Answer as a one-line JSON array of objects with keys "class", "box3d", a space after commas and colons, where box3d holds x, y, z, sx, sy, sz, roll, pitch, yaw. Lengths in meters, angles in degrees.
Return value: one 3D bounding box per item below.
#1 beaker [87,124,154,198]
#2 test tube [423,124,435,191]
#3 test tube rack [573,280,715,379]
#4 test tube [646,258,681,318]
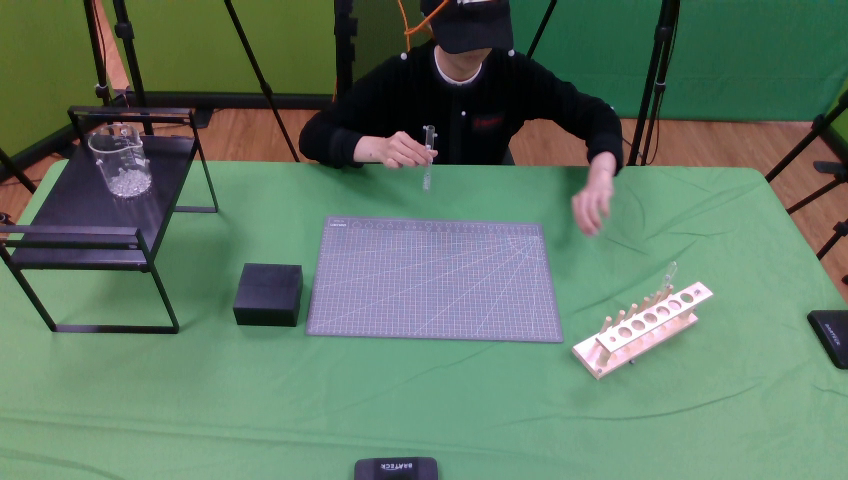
[{"class": "beaker", "box3d": [-0.482, -0.124, 0.978, 0.084, 0.101, 0.073, 9, 46, 4]}, {"class": "test tube", "box3d": [0.009, -0.154, 1.157, 0.017, 0.151, 0.017, 2, 44, -2]}, {"class": "test tube rack", "box3d": [0.378, 0.140, 1.038, 0.242, 0.085, 0.066, -22, 51, -23]}, {"class": "test tube", "box3d": [0.406, 0.084, 1.032, 0.017, 0.151, 0.017, 1, 47, -1]}]
